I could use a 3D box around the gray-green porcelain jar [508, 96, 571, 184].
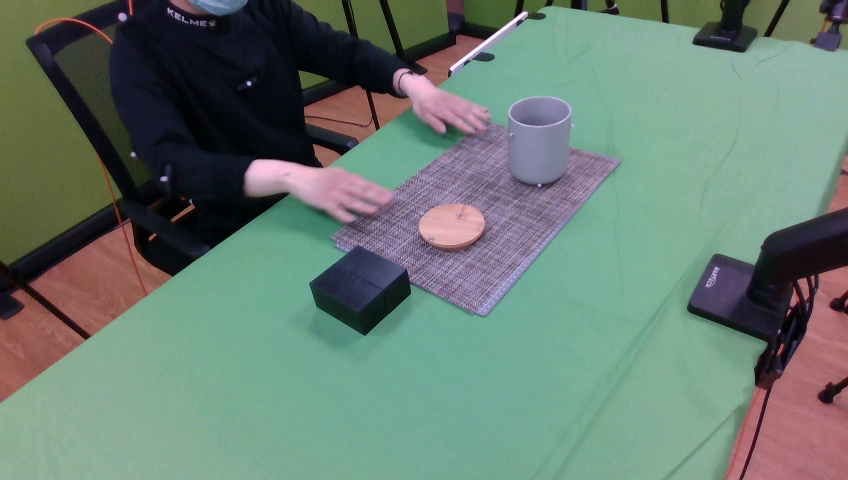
[{"bbox_3d":[0.199,-0.169,1.051,0.106,0.127,0.105,-4,41,4],"label":"gray-green porcelain jar"}]

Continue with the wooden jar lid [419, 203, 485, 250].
[{"bbox_3d":[0.046,-0.021,0.983,0.108,0.021,0.108,-5,41,4],"label":"wooden jar lid"}]
